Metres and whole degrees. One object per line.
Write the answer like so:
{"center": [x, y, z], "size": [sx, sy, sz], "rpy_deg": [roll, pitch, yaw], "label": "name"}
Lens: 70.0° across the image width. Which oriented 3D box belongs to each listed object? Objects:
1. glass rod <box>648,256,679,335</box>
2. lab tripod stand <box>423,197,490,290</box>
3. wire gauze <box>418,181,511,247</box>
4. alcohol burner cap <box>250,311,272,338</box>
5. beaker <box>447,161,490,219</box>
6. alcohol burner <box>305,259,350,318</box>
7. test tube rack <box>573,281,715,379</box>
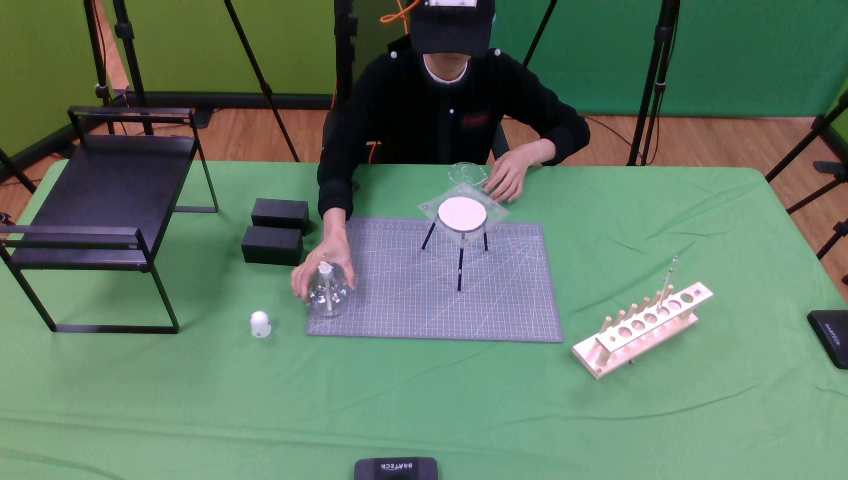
{"center": [0.390, 0.095, 0.990], "size": [0.008, 0.201, 0.008], "rpy_deg": [-2, 46, 3], "label": "glass rod"}
{"center": [0.064, -0.003, 1.120], "size": [0.148, 0.132, 0.147], "rpy_deg": [1, 47, 0], "label": "lab tripod stand"}
{"center": [0.071, -0.052, 1.074], "size": [0.121, 0.011, 0.124], "rpy_deg": [-31, 55, -28], "label": "wire gauze"}
{"center": [-0.278, 0.141, 1.025], "size": [0.034, 0.048, 0.033], "rpy_deg": [1, 47, -1], "label": "alcohol burner cap"}
{"center": [0.087, -0.099, 1.244], "size": [0.084, 0.101, 0.073], "rpy_deg": [5, 46, 1], "label": "beaker"}
{"center": [-0.166, 0.078, 1.040], "size": [0.078, 0.120, 0.077], "rpy_deg": [1, 44, -1], "label": "alcohol burner"}
{"center": [0.378, 0.140, 1.038], "size": [0.242, 0.085, 0.066], "rpy_deg": [-22, 51, -22], "label": "test tube rack"}
